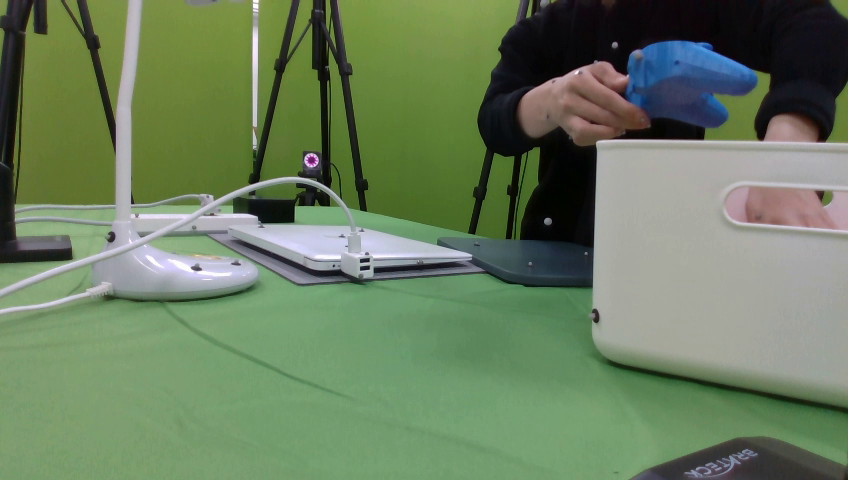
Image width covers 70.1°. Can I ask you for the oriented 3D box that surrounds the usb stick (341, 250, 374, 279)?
[{"bbox_3d":[-0.078,0.026,0.686,0.021,0.027,0.059,-8,8,-30],"label":"usb stick"}]

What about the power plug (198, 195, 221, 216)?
[{"bbox_3d":[-0.386,-0.055,1.088,0.035,0.052,0.072,-1,6,-24],"label":"power plug"}]

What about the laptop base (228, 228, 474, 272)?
[{"bbox_3d":[-0.123,0.012,0.889,0.237,0.023,0.352,2,6,-35],"label":"laptop base"}]

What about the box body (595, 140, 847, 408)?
[{"bbox_3d":[0.309,0.007,0.509,0.253,0.160,0.366,6,8,29],"label":"box body"}]

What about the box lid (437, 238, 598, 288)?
[{"bbox_3d":[0.187,0.029,0.899,0.264,0.015,0.370,1,7,-15],"label":"box lid"}]

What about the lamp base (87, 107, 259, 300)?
[{"bbox_3d":[-0.254,-0.039,0.603,0.160,0.180,0.179,5,10,18],"label":"lamp base"}]

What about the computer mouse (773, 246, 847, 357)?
[{"bbox_3d":[0.357,0.049,0.532,0.063,0.041,0.117,4,47,5],"label":"computer mouse"}]

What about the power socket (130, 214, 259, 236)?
[{"bbox_3d":[-0.397,-0.028,1.048,0.228,0.032,0.072,-3,7,-35],"label":"power socket"}]

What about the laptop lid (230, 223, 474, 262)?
[{"bbox_3d":[-0.121,0.000,0.888,0.243,0.013,0.355,1,7,-33],"label":"laptop lid"}]

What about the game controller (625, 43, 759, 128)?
[{"bbox_3d":[0.229,-0.137,0.534,0.097,0.051,0.155,4,0,18],"label":"game controller"}]

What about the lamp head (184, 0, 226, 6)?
[{"bbox_3d":[-0.229,-0.320,0.627,0.112,0.112,0.123,6,-35,26],"label":"lamp head"}]
